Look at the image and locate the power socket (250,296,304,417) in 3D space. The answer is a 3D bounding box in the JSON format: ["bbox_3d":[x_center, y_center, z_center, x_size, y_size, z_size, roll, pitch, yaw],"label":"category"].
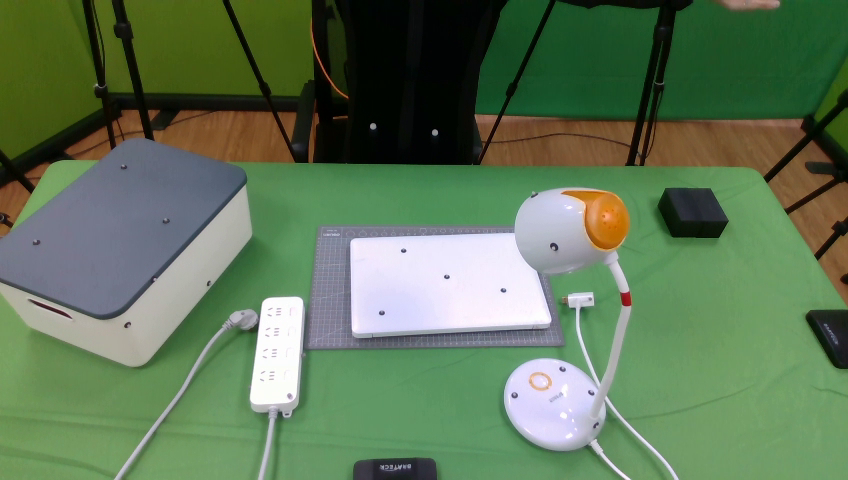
[{"bbox_3d":[-0.239,0.182,0.997,0.072,0.033,0.225,-2,47,-5],"label":"power socket"}]

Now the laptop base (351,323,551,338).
[{"bbox_3d":[0.040,0.080,1.126,0.355,0.023,0.234,-2,43,-6],"label":"laptop base"}]

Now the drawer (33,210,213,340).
[{"bbox_3d":[-0.509,0.055,1.046,0.194,0.073,0.211,15,44,11],"label":"drawer"}]

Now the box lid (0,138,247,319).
[{"bbox_3d":[-0.494,-0.037,0.994,0.263,0.015,0.370,17,46,12],"label":"box lid"}]

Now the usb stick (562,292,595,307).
[{"bbox_3d":[0.280,0.109,1.104,0.059,0.021,0.027,-6,12,23],"label":"usb stick"}]

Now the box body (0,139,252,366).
[{"bbox_3d":[-0.496,0.013,1.048,0.254,0.161,0.362,17,47,12],"label":"box body"}]

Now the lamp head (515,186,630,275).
[{"bbox_3d":[0.188,-0.013,0.728,0.112,0.112,0.122,-25,9,-25],"label":"lamp head"}]

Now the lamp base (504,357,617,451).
[{"bbox_3d":[0.220,0.211,0.903,0.160,0.181,0.178,-32,59,-30],"label":"lamp base"}]

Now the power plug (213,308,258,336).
[{"bbox_3d":[-0.317,0.141,1.025,0.072,0.053,0.035,-27,56,-7],"label":"power plug"}]

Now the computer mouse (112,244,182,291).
[{"bbox_3d":[-0.492,0.046,1.078,0.117,0.041,0.062,24,41,13],"label":"computer mouse"}]

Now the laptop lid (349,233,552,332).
[{"bbox_3d":[0.040,0.070,1.119,0.357,0.013,0.240,-1,44,-5],"label":"laptop lid"}]
